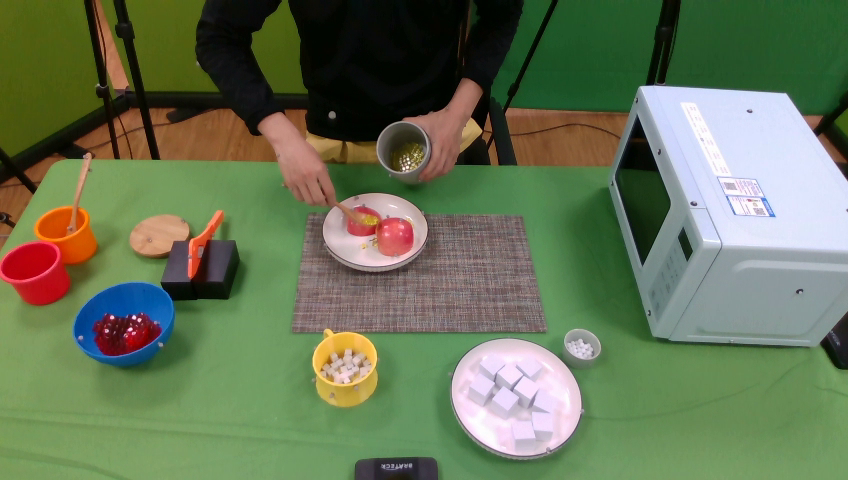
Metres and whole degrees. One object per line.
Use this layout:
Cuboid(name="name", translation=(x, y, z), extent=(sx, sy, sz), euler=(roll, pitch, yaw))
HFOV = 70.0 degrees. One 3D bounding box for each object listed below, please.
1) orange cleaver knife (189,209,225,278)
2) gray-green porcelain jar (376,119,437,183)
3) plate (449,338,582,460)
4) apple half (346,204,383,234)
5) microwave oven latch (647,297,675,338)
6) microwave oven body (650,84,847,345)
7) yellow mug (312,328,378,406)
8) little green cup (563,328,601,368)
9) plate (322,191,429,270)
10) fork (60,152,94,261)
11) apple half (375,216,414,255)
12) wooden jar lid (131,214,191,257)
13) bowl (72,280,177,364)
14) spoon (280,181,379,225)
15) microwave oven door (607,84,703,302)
Cuboid(name="orange cleaver knife", translation=(-0.401, 0.002, 1.122), extent=(0.012, 0.077, 0.210), euler=(3, 22, -4))
Cuboid(name="gray-green porcelain jar", translation=(-0.031, -0.175, 1.221), extent=(0.106, 0.127, 0.105), euler=(-1, 84, 10))
Cuboid(name="plate", translation=(0.141, 0.251, 0.956), extent=(0.208, 0.039, 0.206), euler=(2, 46, -2))
Cuboid(name="apple half", translation=(-0.119, -0.049, 1.207), extent=(0.081, 0.033, 0.081), euler=(2, 49, -2))
Cuboid(name="microwave oven latch", translation=(0.413, 0.133, 1.060), extent=(0.030, 0.029, 0.078), euler=(5, 46, 2))
Cuboid(name="microwave oven body", translation=(0.569, -0.054, 1.116), extent=(0.326, 0.261, 0.439), euler=(2, 46, -1))
Cuboid(name="yellow mug", translation=(-0.132, 0.193, 0.971), extent=(0.100, 0.064, 0.130), euler=(-22, 51, -22))
Cuboid(name="little green cup", translation=(0.265, 0.184, 1.025), extent=(0.061, 0.039, 0.061), euler=(1, 46, -1))
Cuboid(name="plate", translation=(-0.094, -0.015, 1.186), extent=(0.209, 0.038, 0.208), euler=(2, 46, -2))
Cuboid(name="fork", translation=(-0.638, -0.063, 1.119), extent=(0.028, 0.018, 0.207), euler=(12, 90, 8))
Cuboid(name="apple half", translation=(-0.056, -0.017, 1.169), extent=(0.075, 0.053, 0.080), euler=(0, 45, -7))
Cuboid(name="wooden jar lid", translation=(-0.504, -0.008, 1.167), extent=(0.108, 0.021, 0.107), euler=(3, 46, -3))
Cuboid(name="bowl", translation=(-0.473, 0.147, 0.982), extent=(0.151, 0.077, 0.150), euler=(2, 46, -2))
Cuboid(name="spoon", translation=(-0.171, -0.070, 1.114), extent=(0.194, 0.021, 0.041), euler=(26, 26, -22))
Cuboid(name="microwave oven door", translation=(0.424, -0.096, 1.138), extent=(0.039, 0.245, 0.353), euler=(3, 46, -1))
